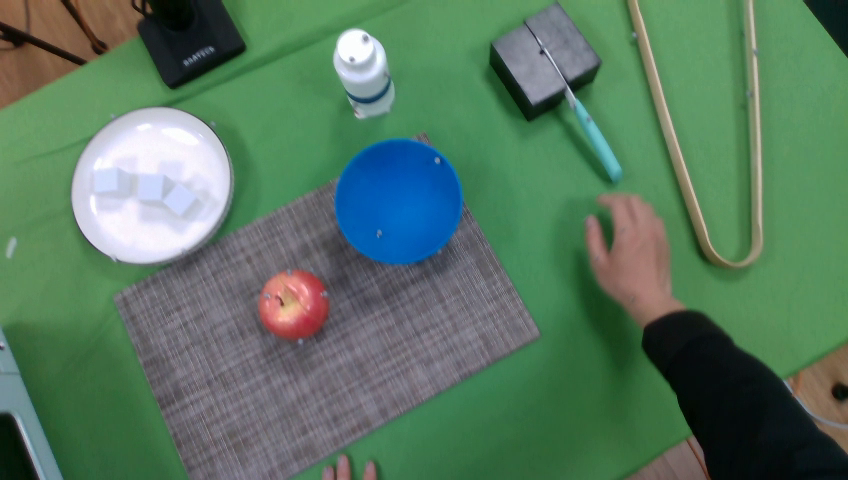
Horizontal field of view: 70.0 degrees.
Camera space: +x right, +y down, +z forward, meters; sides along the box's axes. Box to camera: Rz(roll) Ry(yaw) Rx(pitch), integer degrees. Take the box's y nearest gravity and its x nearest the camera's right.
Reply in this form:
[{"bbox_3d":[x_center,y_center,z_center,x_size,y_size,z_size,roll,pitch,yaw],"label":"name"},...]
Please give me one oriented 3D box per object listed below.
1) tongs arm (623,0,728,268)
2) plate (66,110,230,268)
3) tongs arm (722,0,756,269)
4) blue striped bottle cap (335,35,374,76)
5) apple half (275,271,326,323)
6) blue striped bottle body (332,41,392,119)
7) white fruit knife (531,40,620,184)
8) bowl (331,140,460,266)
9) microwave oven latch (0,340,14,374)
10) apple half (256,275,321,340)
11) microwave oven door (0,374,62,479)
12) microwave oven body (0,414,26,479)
[{"bbox_3d":[0.310,-0.149,0.769,0.028,0.028,0.385,-12,78,-2],"label":"tongs arm"},{"bbox_3d":[-0.349,-0.064,0.781,0.207,0.039,0.206,0,78,2],"label":"plate"},{"bbox_3d":[0.391,-0.155,0.762,0.051,0.026,0.383,1,79,4],"label":"tongs arm"},{"bbox_3d":[-0.081,-0.214,0.703,0.044,0.021,0.044,0,77,2],"label":"blue striped bottle cap"},{"bbox_3d":[-0.138,0.061,0.720,0.033,0.081,0.081,-44,79,-3],"label":"apple half"},{"bbox_3d":[-0.077,-0.203,0.752,0.063,0.121,0.063,-1,77,3],"label":"blue striped bottle body"},{"bbox_3d":[0.188,-0.161,0.757,0.016,0.027,0.207,-31,89,-5],"label":"white fruit knife"},{"bbox_3d":[-0.031,-0.037,0.733,0.151,0.077,0.150,-1,78,3],"label":"bowl"},{"bbox_3d":[-0.528,0.131,0.730,0.030,0.029,0.079,-30,79,-4],"label":"microwave oven latch"},{"bbox_3d":[-0.166,0.088,0.717,0.053,0.075,0.080,-43,82,-3],"label":"apple half"},{"bbox_3d":[-0.427,0.293,0.587,0.039,0.245,0.354,-30,78,-4],"label":"microwave oven door"},{"bbox_3d":[-0.575,0.332,0.591,0.326,0.261,0.439,-30,79,-4],"label":"microwave oven body"}]
